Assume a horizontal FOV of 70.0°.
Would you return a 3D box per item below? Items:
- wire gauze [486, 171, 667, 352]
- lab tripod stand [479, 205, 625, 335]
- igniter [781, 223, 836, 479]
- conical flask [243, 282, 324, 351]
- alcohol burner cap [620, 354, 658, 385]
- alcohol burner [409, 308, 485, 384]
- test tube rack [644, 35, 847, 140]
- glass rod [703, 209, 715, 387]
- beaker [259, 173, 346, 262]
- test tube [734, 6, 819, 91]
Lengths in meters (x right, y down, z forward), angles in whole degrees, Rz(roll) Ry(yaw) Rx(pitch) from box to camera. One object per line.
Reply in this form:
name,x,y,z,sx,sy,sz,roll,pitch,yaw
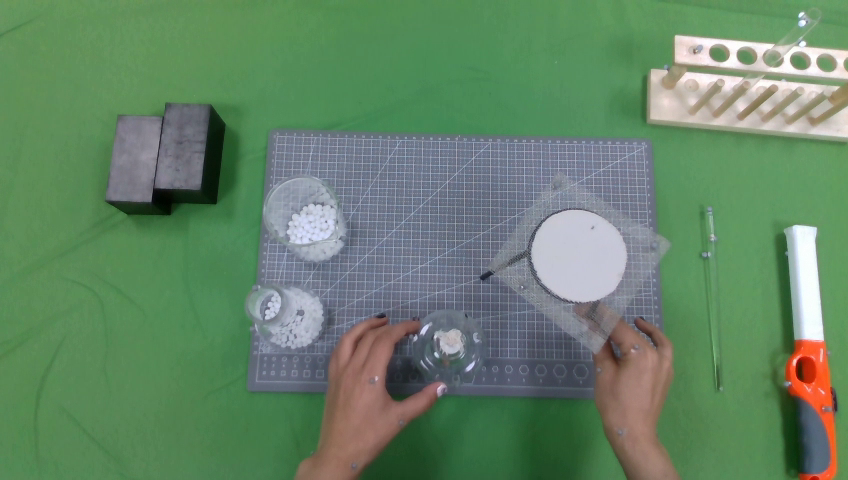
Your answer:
wire gauze,0.138,0.015,0.548,0.125,0.011,0.121,37,80,8
lab tripod stand,0.134,0.027,0.614,0.148,0.132,0.147,0,78,1
igniter,0.414,0.117,0.655,0.057,0.025,0.275,6,77,-10
conical flask,-0.145,0.071,0.606,0.075,0.122,0.075,0,77,-1
alcohol burner cap,0.229,0.135,0.638,0.034,0.048,0.033,0,76,-1
alcohol burner,0.023,0.104,0.606,0.078,0.119,0.077,0,77,2
test tube rack,0.386,-0.172,0.690,0.242,0.085,0.066,5,77,1
glass rod,0.318,0.063,0.676,0.008,0.008,0.199,3,80,0
beaker,-0.120,-0.017,0.638,0.084,0.100,0.074,37,79,7
test tube,0.371,-0.199,0.646,0.017,0.151,0.017,0,76,2
